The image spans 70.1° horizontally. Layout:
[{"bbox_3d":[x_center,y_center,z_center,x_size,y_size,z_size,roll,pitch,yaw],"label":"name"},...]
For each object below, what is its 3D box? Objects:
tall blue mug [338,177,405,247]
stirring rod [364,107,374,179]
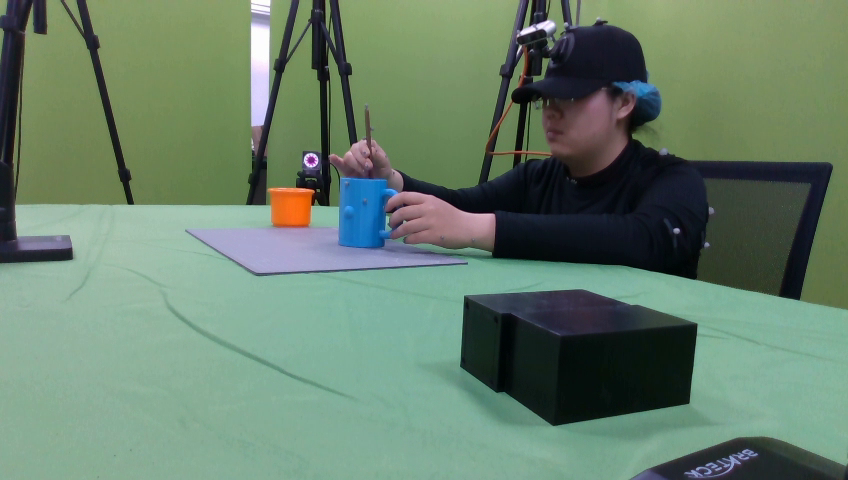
[{"bbox_3d":[-0.083,-0.045,0.973,0.107,0.108,0.078,3,6,0],"label":"tall blue mug"},{"bbox_3d":[-0.086,-0.125,0.977,0.006,0.176,0.014,-8,10,-24],"label":"stirring rod"}]
